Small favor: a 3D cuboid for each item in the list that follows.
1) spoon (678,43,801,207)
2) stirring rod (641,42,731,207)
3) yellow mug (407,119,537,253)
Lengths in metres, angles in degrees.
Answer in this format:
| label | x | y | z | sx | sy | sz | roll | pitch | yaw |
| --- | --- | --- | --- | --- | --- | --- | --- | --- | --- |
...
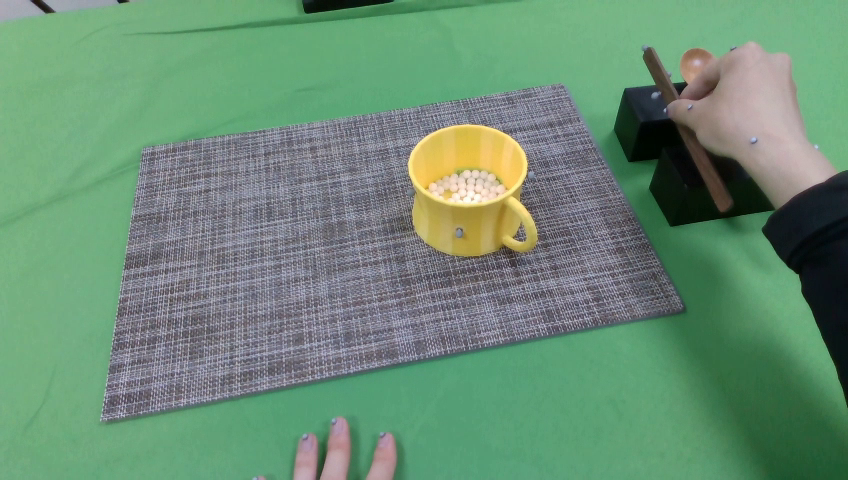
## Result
| label | x | y | z | sx | sy | sz | roll | pitch | yaw |
| --- | --- | --- | --- | --- | --- | --- | --- | --- | --- |
| spoon | 0.275 | -0.106 | 0.531 | 0.042 | 0.022 | 0.191 | -10 | 54 | -6 |
| stirring rod | 0.221 | -0.104 | 0.518 | 0.006 | 0.014 | 0.174 | -1 | 60 | -22 |
| yellow mug | 0.047 | -0.039 | 0.518 | 0.100 | 0.064 | 0.129 | -36 | 59 | -23 |
